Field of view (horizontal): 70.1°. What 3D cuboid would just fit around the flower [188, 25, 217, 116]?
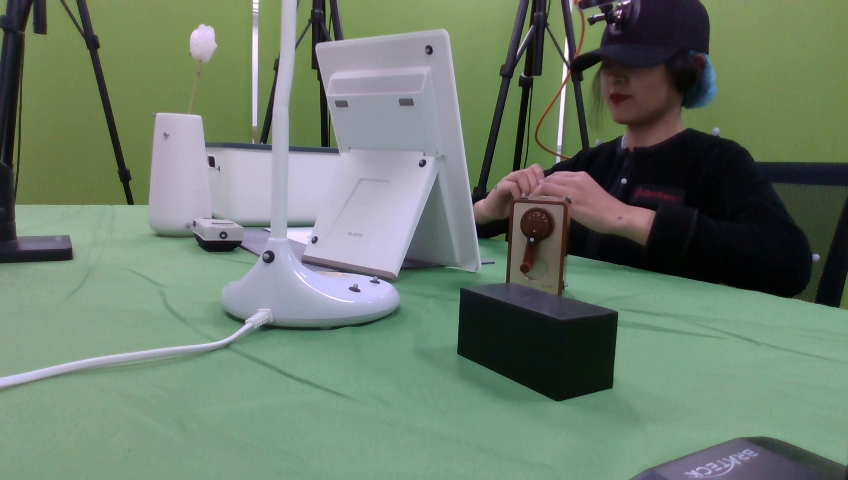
[{"bbox_3d":[-0.394,-0.189,1.012,0.044,0.361,0.038,-1,-13,28],"label":"flower"}]

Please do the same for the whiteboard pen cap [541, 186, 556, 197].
[{"bbox_3d":[0.199,-0.077,0.971,0.018,0.018,0.033,2,13,-4],"label":"whiteboard pen cap"}]

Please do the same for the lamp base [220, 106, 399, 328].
[{"bbox_3d":[-0.102,-0.023,0.531,0.160,0.180,0.179,4,10,10],"label":"lamp base"}]

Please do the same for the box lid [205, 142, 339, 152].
[{"bbox_3d":[-0.270,-0.196,1.311,0.373,0.015,0.262,-2,9,-30],"label":"box lid"}]

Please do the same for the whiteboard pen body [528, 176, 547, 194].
[{"bbox_3d":[0.198,-0.092,1.031,0.017,0.017,0.140,2,15,-3],"label":"whiteboard pen body"}]

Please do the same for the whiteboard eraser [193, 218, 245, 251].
[{"bbox_3d":[-0.307,-0.010,0.900,0.056,0.042,0.112,-4,11,-28],"label":"whiteboard eraser"}]

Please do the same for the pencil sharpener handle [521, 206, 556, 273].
[{"bbox_3d":[0.111,0.000,0.613,0.036,0.067,0.031,13,10,14],"label":"pencil sharpener handle"}]

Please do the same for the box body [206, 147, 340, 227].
[{"bbox_3d":[-0.276,-0.122,1.320,0.366,0.160,0.253,-2,9,-30],"label":"box body"}]

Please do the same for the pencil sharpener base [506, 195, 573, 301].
[{"bbox_3d":[0.127,0.007,0.663,0.061,0.107,0.077,5,8,15],"label":"pencil sharpener base"}]

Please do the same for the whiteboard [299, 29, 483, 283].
[{"bbox_3d":[-0.074,-0.082,0.742,0.216,0.305,0.144,9,29,38],"label":"whiteboard"}]

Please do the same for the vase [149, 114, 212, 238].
[{"bbox_3d":[-0.405,-0.106,1.005,0.098,0.200,0.098,2,6,0],"label":"vase"}]
